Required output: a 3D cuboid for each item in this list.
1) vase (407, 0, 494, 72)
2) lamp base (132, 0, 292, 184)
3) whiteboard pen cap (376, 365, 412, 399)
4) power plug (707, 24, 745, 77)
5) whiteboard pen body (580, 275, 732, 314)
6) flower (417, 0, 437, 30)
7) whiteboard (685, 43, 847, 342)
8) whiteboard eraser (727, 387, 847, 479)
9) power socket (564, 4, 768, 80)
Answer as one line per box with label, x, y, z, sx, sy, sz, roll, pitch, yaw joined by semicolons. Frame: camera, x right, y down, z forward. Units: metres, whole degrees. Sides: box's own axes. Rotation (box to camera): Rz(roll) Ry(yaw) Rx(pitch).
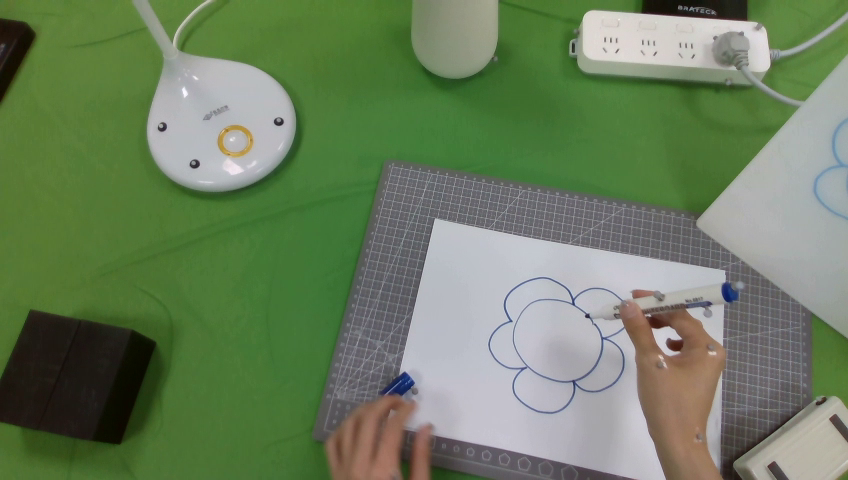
vase;0.027;-0.264;0.620;0.098;0.201;0.097;-1;69;2
lamp base;-0.236;-0.170;0.597;0.160;0.181;0.178;-42;72;-14
whiteboard pen cap;-0.027;0.133;0.568;0.033;0.018;0.018;-39;73;-14
power plug;0.324;-0.202;0.659;0.035;0.053;0.072;15;77;6
whiteboard pen body;0.185;0.048;0.501;0.017;0.140;0.017;11;70;-34
flower;0.043;-0.282;0.540;0.044;0.361;0.038;-31;89;-19
whiteboard;0.429;-0.077;0.524;0.216;0.307;0.144;41;54;15
whiteboard eraser;0.326;0.181;0.533;0.113;0.042;0.055;-31;71;-10
power socket;0.277;-0.226;0.692;0.227;0.033;0.072;6;71;2
